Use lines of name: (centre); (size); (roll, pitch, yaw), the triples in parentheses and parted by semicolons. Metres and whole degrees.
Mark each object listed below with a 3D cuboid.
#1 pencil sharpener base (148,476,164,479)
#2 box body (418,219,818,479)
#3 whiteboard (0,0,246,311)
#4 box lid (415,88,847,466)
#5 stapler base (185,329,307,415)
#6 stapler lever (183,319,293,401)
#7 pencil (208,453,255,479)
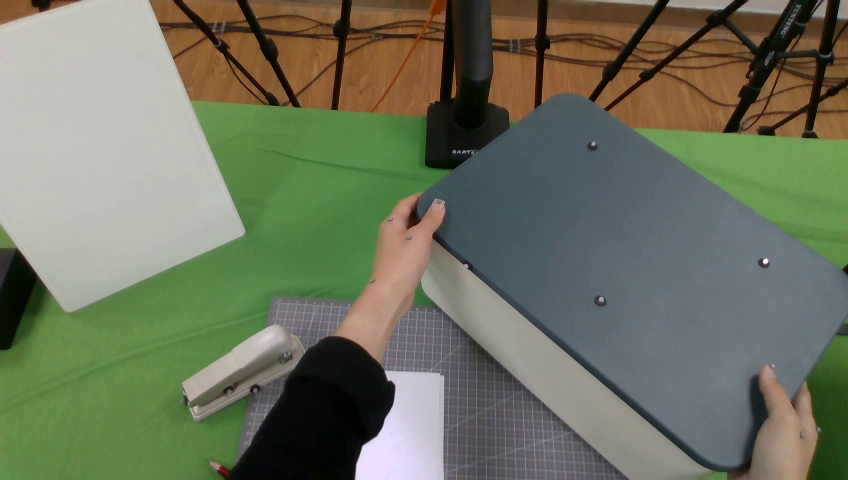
pencil sharpener base: (-0.242, 0.255, 0.517); (0.077, 0.108, 0.061); (-18, 60, -14)
box body: (0.195, 0.044, 0.647); (0.361, 0.161, 0.254); (40, 63, 21)
whiteboard: (-0.368, -0.115, 0.670); (0.217, 0.308, 0.142); (-27, 43, -18)
box lid: (0.198, 0.002, 0.587); (0.369, 0.015, 0.263); (41, 63, 20)
stapler base: (-0.191, 0.135, 0.647); (0.130, 0.024, 0.041); (-28, 58, -16)
stapler lever: (-0.192, 0.122, 0.626); (0.118, 0.040, 0.026); (-28, 58, -16)
pencil: (-0.133, 0.254, 0.580); (0.193, 0.012, 0.012); (26, 59, 15)
